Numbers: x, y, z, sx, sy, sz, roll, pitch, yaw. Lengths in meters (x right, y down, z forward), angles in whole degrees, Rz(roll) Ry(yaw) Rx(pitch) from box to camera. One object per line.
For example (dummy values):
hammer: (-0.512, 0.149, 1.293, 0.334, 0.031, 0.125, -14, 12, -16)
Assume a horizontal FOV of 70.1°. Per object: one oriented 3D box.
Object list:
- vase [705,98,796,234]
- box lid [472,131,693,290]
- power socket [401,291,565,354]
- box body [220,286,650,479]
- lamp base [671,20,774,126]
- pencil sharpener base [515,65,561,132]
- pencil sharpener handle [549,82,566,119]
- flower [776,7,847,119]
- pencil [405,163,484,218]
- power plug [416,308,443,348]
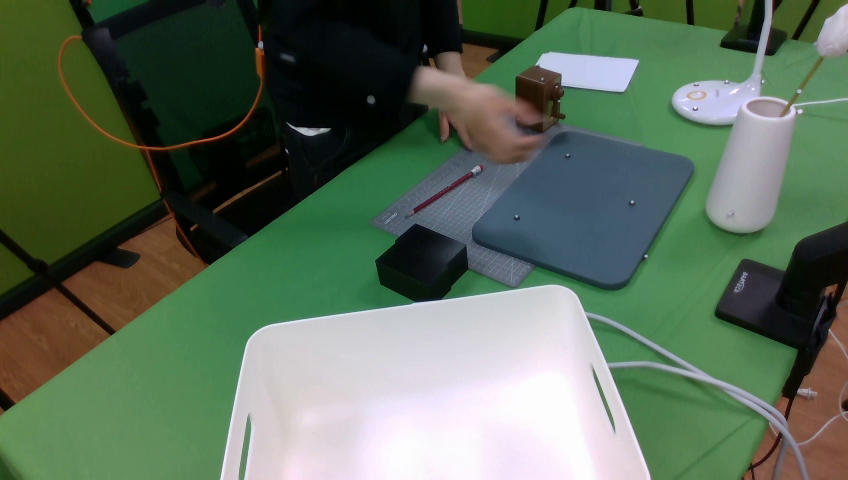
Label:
vase: (0.480, -0.104, 0.889, 0.098, 0.201, 0.097, -4, 42, 4)
box lid: (0.273, -0.068, 1.020, 0.261, 0.015, 0.372, 20, 47, 28)
power socket: (0.080, 0.111, 0.823, 0.227, 0.033, 0.072, -5, 41, 1)
box body: (0.006, 0.210, 0.618, 0.364, 0.161, 0.252, -8, 40, -1)
lamp base: (0.581, -0.332, 1.154, 0.179, 0.181, 0.160, 2, 42, 7)
pencil sharpener base: (0.227, -0.278, 1.195, 0.076, 0.107, 0.061, 29, 52, 35)
pencil sharpener handle: (0.261, -0.266, 1.157, 0.030, 0.068, 0.036, 29, 46, 35)
flower: (0.477, -0.155, 0.822, 0.038, 0.362, 0.044, 8, 57, 2)
pencil: (0.038, -0.089, 1.079, 0.195, 0.012, 0.012, -35, 48, -27)
power plug: (0.005, 0.121, 0.787, 0.035, 0.053, 0.072, 2, 46, 8)
